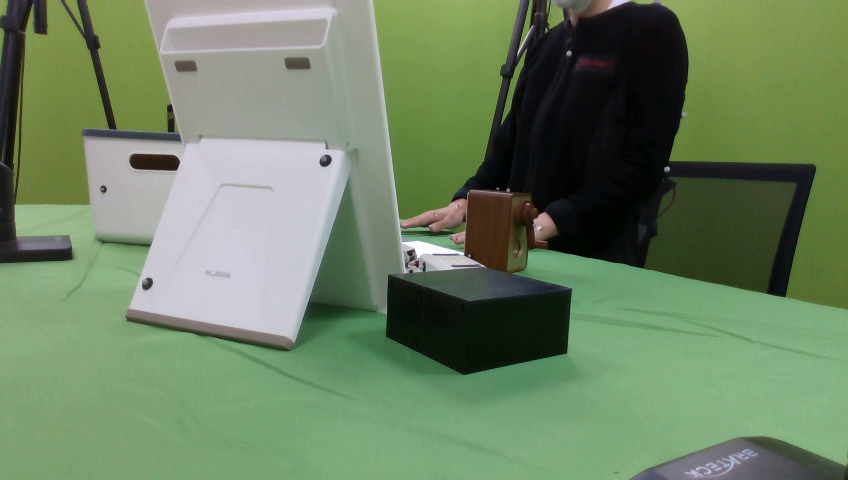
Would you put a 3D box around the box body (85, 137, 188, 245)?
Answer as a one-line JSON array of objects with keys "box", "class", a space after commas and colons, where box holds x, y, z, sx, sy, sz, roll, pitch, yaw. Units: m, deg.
[{"box": [-0.340, -0.088, 1.022, 0.254, 0.160, 0.364, 4, 7, 11], "class": "box body"}]

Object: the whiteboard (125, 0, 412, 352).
[{"box": [-0.151, -0.050, 0.471, 0.216, 0.305, 0.144, 6, 27, 24], "class": "whiteboard"}]

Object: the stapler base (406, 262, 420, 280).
[{"box": [-0.069, 0.027, 0.759, 0.130, 0.024, 0.041, 9, 13, 23], "class": "stapler base"}]

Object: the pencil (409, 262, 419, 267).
[{"box": [0.042, 0.028, 0.848, 0.012, 0.012, 0.195, 10, 10, 43], "class": "pencil"}]

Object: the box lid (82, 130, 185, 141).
[{"box": [-0.337, -0.161, 1.011, 0.263, 0.015, 0.372, 4, 7, 11], "class": "box lid"}]

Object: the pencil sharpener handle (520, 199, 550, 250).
[{"box": [0.147, -0.019, 0.785, 0.030, 0.068, 0.036, 8, 26, 36], "class": "pencil sharpener handle"}]

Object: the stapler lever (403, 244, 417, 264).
[{"box": [-0.066, 0.003, 0.755, 0.117, 0.040, 0.027, 9, 13, 23], "class": "stapler lever"}]

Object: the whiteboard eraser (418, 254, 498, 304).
[{"box": [0.033, 0.040, 0.631, 0.056, 0.042, 0.112, 3, 6, -15], "class": "whiteboard eraser"}]

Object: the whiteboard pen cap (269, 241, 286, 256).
[{"box": [-0.202, 0.012, 0.836, 0.018, 0.018, 0.033, 2, 9, -1], "class": "whiteboard pen cap"}]

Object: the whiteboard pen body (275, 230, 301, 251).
[{"box": [-0.203, 0.002, 0.894, 0.017, 0.017, 0.140, 2, 9, -1], "class": "whiteboard pen body"}]

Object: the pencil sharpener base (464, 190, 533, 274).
[{"box": [0.102, -0.012, 0.812, 0.076, 0.107, 0.061, 8, 9, 36], "class": "pencil sharpener base"}]
